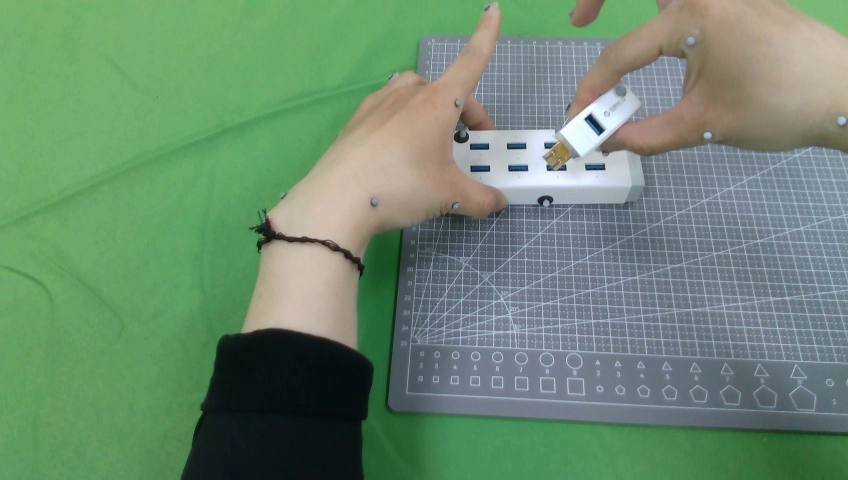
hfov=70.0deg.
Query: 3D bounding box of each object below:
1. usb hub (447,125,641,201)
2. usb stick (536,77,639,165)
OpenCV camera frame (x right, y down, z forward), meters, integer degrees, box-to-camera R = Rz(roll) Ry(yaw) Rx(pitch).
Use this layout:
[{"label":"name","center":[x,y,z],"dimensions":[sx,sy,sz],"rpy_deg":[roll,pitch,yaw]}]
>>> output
[{"label":"usb hub","center":[0.078,-0.052,0.410],"dimensions":[0.125,0.025,0.049],"rpy_deg":[0,61,1]},{"label":"usb stick","center":[0.091,-0.066,0.348],"dimensions":[0.059,0.027,0.021],"rpy_deg":[-37,88,7]}]
